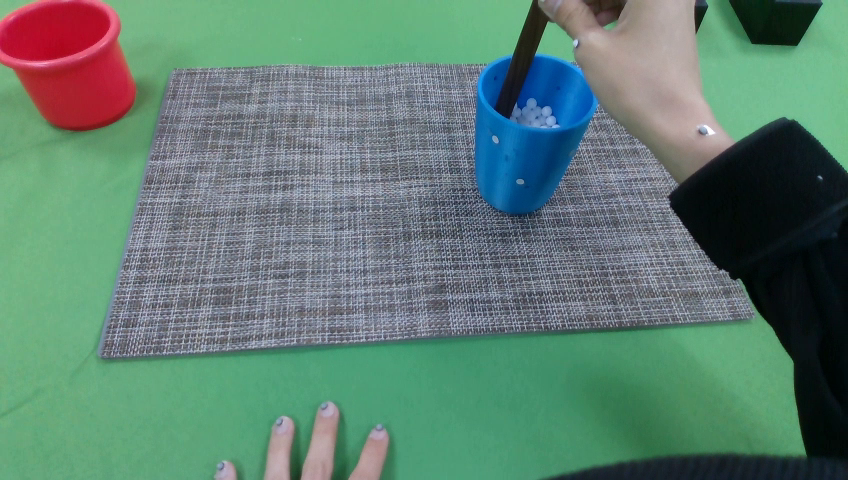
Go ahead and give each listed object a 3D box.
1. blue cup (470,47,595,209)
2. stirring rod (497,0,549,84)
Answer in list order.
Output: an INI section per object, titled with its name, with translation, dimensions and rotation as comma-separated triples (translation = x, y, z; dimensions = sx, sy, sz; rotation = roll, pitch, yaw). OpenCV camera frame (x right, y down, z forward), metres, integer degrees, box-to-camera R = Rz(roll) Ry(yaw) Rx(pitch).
[blue cup]
translation = 0.073, -0.078, 0.459
dimensions = 0.093, 0.101, 0.091
rotation = 2, 53, -3
[stirring rod]
translation = 0.066, -0.135, 0.387
dimensions = 0.014, 0.177, 0.006
rotation = 17, 51, -1
